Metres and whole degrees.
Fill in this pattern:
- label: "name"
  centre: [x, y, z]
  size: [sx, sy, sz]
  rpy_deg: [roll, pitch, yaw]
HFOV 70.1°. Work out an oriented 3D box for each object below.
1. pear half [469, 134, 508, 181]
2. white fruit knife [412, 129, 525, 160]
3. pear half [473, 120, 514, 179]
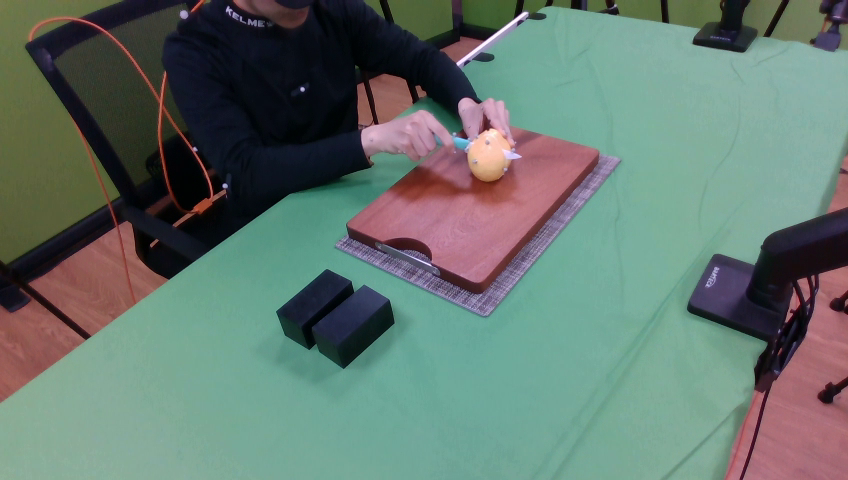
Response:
- label: "pear half"
  centre: [0.104, -0.133, 1.012]
  size: [0.070, 0.088, 0.031]
  rpy_deg: [16, 46, 13]
- label: "white fruit knife"
  centre: [0.073, -0.161, 1.026]
  size: [0.206, 0.027, 0.016]
  rpy_deg: [15, 41, 20]
- label: "pear half"
  centre: [0.118, -0.163, 1.030]
  size: [0.076, 0.110, 0.056]
  rpy_deg: [15, 47, 15]
